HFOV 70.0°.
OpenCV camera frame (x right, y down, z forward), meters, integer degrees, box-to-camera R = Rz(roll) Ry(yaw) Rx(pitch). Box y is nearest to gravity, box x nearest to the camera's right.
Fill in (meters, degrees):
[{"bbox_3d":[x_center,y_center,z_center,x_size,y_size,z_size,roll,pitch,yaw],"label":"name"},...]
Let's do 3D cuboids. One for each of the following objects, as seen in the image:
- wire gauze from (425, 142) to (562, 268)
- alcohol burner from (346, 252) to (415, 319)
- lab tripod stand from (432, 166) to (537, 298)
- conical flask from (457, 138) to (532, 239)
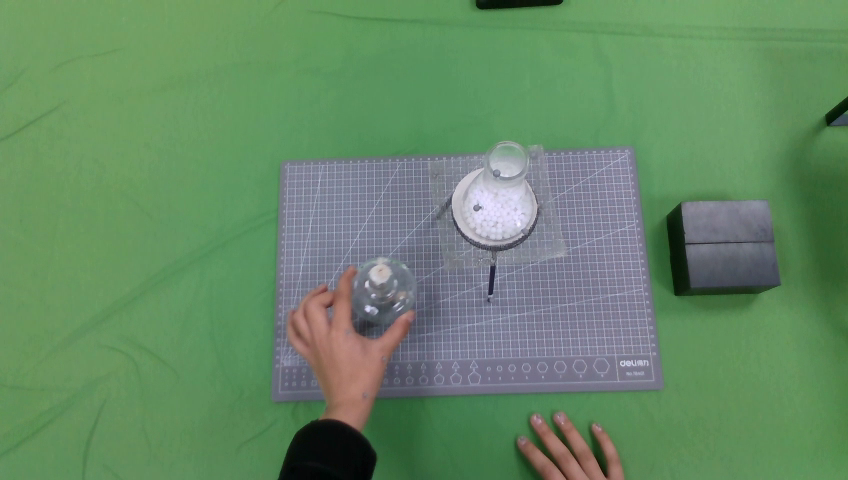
[{"bbox_3d":[0.070,-0.036,0.614,0.125,0.011,0.121,-7,77,-3],"label":"wire gauze"},{"bbox_3d":[-0.049,0.046,0.669,0.078,0.120,0.077,1,70,-2],"label":"alcohol burner"},{"bbox_3d":[0.074,-0.020,0.678,0.148,0.132,0.147,0,73,1],"label":"lab tripod stand"},{"bbox_3d":[0.069,-0.051,0.557,0.075,0.122,0.075,0,74,2],"label":"conical flask"}]
